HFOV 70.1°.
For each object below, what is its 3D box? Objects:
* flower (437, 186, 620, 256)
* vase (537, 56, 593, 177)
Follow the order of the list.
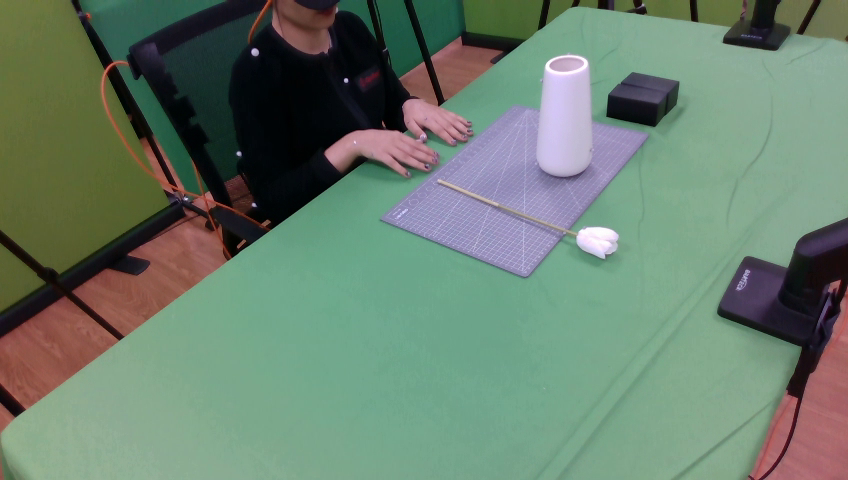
[{"bbox_3d":[0.156,-0.045,1.011,0.358,0.038,0.044,22,85,38],"label":"flower"},{"bbox_3d":[0.245,-0.209,1.040,0.098,0.201,0.097,-4,40,4],"label":"vase"}]
